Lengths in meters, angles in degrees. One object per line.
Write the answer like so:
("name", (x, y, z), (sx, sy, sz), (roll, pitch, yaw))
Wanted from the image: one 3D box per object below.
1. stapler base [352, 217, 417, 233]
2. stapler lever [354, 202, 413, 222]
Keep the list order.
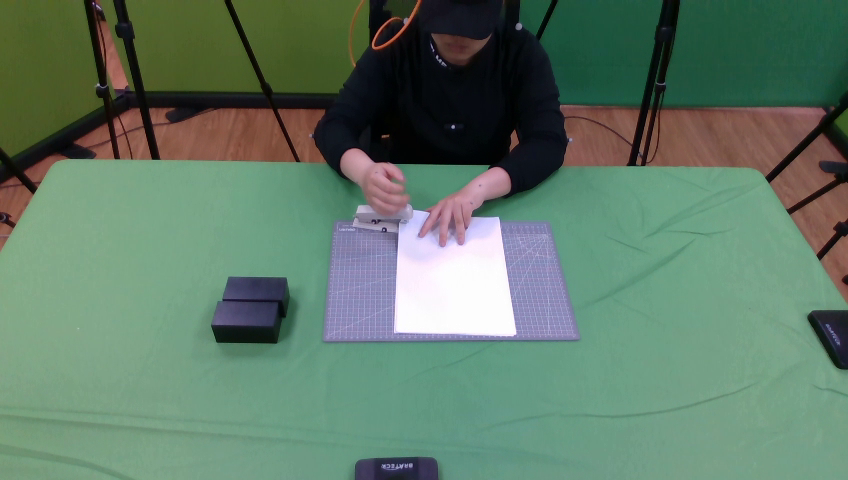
("stapler base", (-0.079, -0.041, 1.225), (0.130, 0.024, 0.041), (6, 43, 4))
("stapler lever", (-0.080, -0.059, 1.207), (0.118, 0.040, 0.026), (6, 43, 4))
